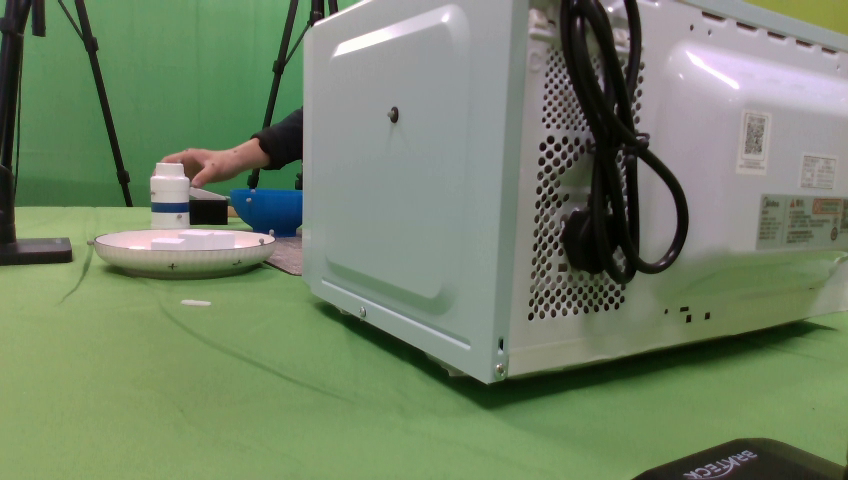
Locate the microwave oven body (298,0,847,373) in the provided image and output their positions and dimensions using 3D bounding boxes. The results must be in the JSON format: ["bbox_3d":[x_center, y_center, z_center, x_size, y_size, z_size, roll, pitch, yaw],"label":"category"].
[{"bbox_3d":[0.151,-0.055,0.542,0.444,0.260,0.324,-1,7,-33],"label":"microwave oven body"}]

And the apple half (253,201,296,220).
[{"bbox_3d":[-0.264,-0.053,1.066,0.081,0.033,0.081,2,8,0],"label":"apple half"}]

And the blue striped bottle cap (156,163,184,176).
[{"bbox_3d":[-0.439,-0.122,1.045,0.044,0.020,0.044,5,7,0],"label":"blue striped bottle cap"}]

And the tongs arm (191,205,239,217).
[{"bbox_3d":[-0.396,-0.066,1.399,0.389,0.028,0.028,1,6,-15],"label":"tongs arm"}]

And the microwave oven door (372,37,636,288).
[{"bbox_3d":[0.109,-0.080,0.686,0.358,0.243,0.039,-2,9,-33],"label":"microwave oven door"}]

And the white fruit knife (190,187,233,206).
[{"bbox_3d":[-0.413,-0.081,1.270,0.208,0.027,0.016,18,14,-41],"label":"white fruit knife"}]

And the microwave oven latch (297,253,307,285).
[{"bbox_3d":[-0.082,0.027,0.582,0.079,0.029,0.030,-1,7,-32],"label":"microwave oven latch"}]

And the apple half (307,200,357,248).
[{"bbox_3d":[-0.135,-0.024,0.941,0.053,0.074,0.081,13,8,39],"label":"apple half"}]

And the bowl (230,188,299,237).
[{"bbox_3d":[-0.264,-0.048,1.065,0.151,0.077,0.151,3,8,0],"label":"bowl"}]

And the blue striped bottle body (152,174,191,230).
[{"bbox_3d":[-0.439,-0.071,1.052,0.063,0.120,0.063,2,7,0],"label":"blue striped bottle body"}]

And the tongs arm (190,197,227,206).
[{"bbox_3d":[-0.404,-0.081,1.479,0.385,0.026,0.050,3,9,-2],"label":"tongs arm"}]

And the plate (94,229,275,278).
[{"bbox_3d":[-0.291,0.016,0.750,0.208,0.039,0.207,2,7,0],"label":"plate"}]
